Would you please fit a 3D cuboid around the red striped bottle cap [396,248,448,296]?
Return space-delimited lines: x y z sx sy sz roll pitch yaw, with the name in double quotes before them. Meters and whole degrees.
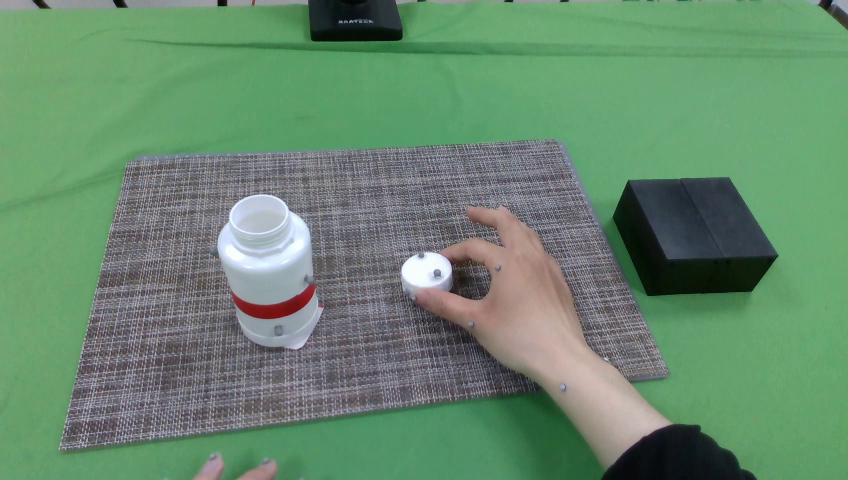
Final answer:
"red striped bottle cap" -0.001 0.026 0.512 0.044 0.018 0.044 1 38 0

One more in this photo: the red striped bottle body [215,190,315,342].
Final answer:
"red striped bottle body" -0.116 0.019 0.448 0.063 0.120 0.062 3 49 -3
